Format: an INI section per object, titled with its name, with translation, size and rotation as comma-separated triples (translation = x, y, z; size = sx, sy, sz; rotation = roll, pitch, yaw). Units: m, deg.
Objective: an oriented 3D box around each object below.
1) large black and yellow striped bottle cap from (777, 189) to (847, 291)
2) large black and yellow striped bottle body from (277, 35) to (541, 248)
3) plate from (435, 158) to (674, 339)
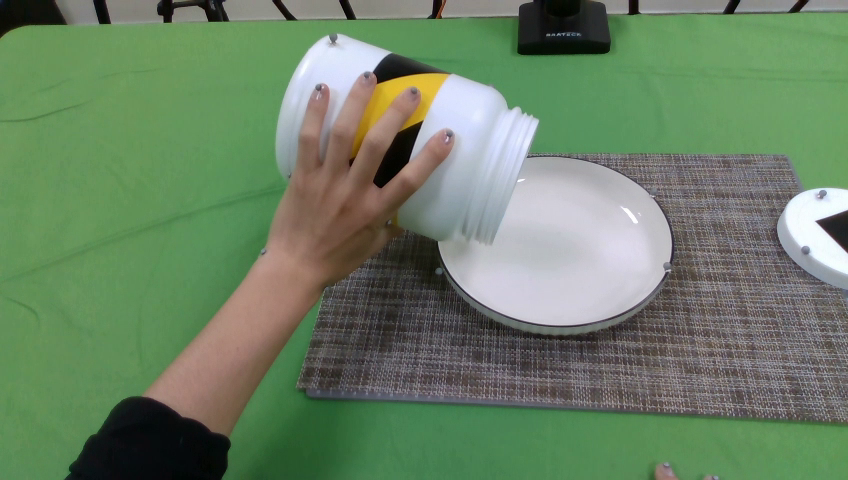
[large black and yellow striped bottle cap]
translation = 0.381, -0.001, 0.543
size = 0.115, 0.019, 0.114
rotation = 0, 49, 1
[large black and yellow striped bottle body]
translation = -0.010, -0.076, 0.496
size = 0.183, 0.132, 0.130
rotation = 21, 52, 6
[plate]
translation = 0.115, 0.006, 0.548
size = 0.207, 0.039, 0.205
rotation = -3, 47, 3
